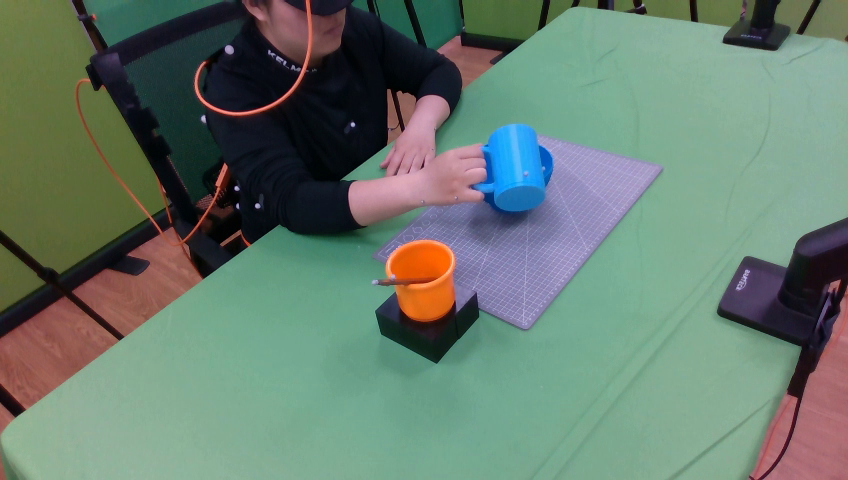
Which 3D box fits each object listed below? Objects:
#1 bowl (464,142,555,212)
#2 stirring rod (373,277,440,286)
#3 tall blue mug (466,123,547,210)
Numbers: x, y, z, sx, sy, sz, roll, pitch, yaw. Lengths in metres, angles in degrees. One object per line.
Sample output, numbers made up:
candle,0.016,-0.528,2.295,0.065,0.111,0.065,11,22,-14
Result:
bowl,0.145,-0.100,1.025,0.151,0.077,0.150,-5,41,5
stirring rod,-0.018,0.051,0.758,0.014,0.006,0.177,13,3,23
tall blue mug,0.125,-0.111,0.900,0.108,0.077,0.107,10,61,-26
